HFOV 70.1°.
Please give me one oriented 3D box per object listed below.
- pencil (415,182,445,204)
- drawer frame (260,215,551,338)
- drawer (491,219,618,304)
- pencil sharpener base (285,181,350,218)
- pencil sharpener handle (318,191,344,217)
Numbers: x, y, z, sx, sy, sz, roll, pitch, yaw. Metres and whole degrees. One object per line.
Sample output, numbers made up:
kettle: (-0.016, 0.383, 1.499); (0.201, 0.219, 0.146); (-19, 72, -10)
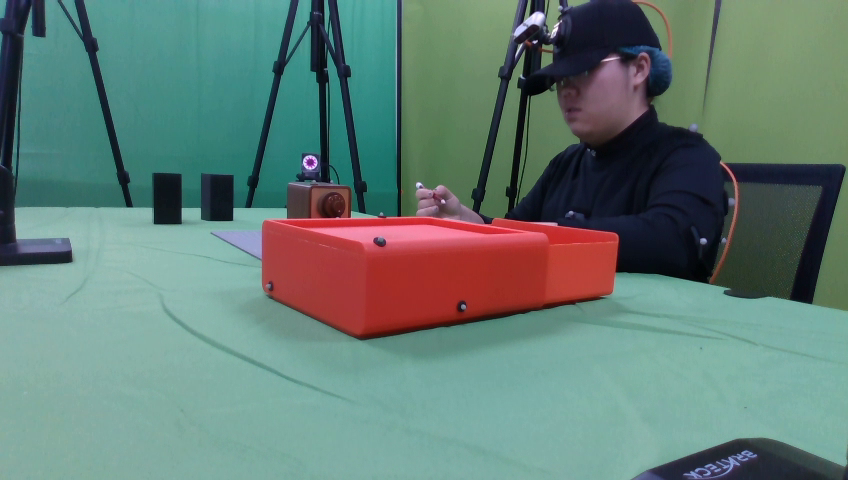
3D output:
pencil: (0.011, -0.088, 1.142); (0.012, 0.012, 0.193); (1, 15, -16)
drawer frame: (-0.021, 0.023, 0.595); (0.215, 0.082, 0.200); (-4, 10, -38)
drawer: (0.071, 0.021, 0.670); (0.213, 0.073, 0.193); (-3, 10, -39)
pencil sharpener base: (-0.139, -0.021, 0.789); (0.062, 0.107, 0.076); (-2, 9, -36)
pencil sharpener handle: (-0.107, -0.026, 0.748); (0.036, 0.067, 0.030); (-6, 11, -36)
